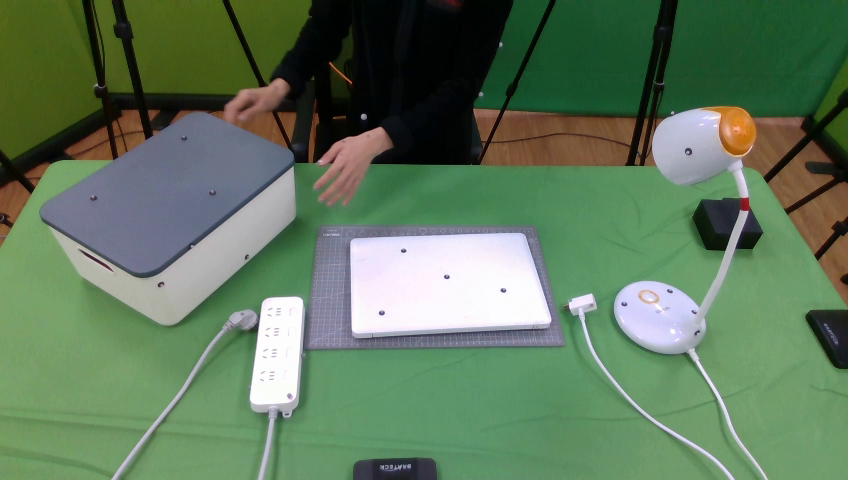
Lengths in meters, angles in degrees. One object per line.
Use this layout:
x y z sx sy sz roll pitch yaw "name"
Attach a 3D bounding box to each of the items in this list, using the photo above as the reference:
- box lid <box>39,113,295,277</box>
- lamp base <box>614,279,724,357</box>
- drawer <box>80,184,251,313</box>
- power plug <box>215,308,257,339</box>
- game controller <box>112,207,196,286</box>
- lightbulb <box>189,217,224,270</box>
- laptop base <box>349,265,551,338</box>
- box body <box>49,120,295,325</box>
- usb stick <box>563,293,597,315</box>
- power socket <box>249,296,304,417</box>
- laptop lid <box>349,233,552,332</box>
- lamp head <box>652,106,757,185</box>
-0.435 -0.096 1.056 0.262 0.015 0.370 25 48 18 "box lid"
0.436 0.090 1.034 0.161 0.181 0.178 -23 55 -23 "lamp base"
-0.456 0.009 1.089 0.194 0.073 0.211 26 44 16 "drawer"
-0.317 0.143 1.024 0.072 0.053 0.035 -32 58 -9 "power plug"
-0.465 0.003 1.042 0.097 0.052 0.154 7 47 0 "game controller"
-0.406 0.007 1.114 0.059 0.060 0.107 8 59 3 "lightbulb"
0.039 0.080 1.125 0.355 0.023 0.234 -2 43 -6 "laptop base"
-0.437 -0.046 1.110 0.253 0.161 0.363 24 49 19 "box body"
0.280 0.118 1.093 0.059 0.021 0.027 -19 35 25 "usb stick"
-0.239 0.182 0.996 0.072 0.033 0.225 -2 47 -5 "power socket"
0.040 0.070 1.119 0.357 0.013 0.240 -1 44 -5 "laptop lid"
0.410 -0.139 0.869 0.113 0.122 0.112 0 89 -19 "lamp head"
